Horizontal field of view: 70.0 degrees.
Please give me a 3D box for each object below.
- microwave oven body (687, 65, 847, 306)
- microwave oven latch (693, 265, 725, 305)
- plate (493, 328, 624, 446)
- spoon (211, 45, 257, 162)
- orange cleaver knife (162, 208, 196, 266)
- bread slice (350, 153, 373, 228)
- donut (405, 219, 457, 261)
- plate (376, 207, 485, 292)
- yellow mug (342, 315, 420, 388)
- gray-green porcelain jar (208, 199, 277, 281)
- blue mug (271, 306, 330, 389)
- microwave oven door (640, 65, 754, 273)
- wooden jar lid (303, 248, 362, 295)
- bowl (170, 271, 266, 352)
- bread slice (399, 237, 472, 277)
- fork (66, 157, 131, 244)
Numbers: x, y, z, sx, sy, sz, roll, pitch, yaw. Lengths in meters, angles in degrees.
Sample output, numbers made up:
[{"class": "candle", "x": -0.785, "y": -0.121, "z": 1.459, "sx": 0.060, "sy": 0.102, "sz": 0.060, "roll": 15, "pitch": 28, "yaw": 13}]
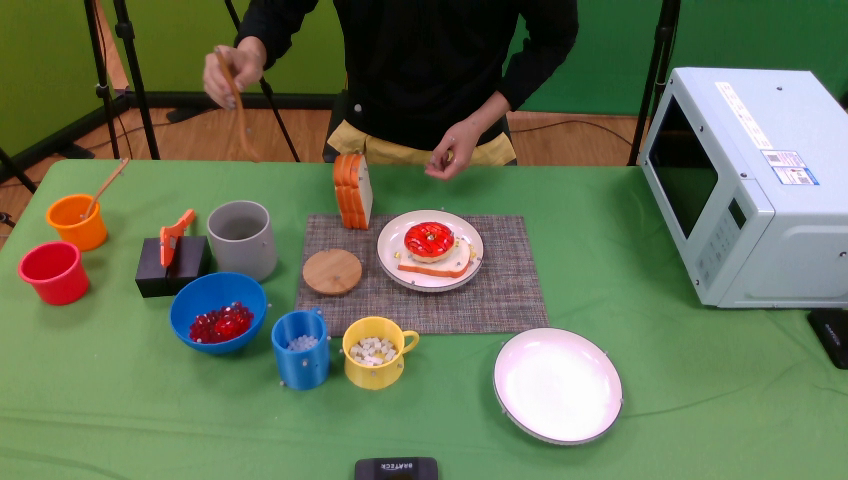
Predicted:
[{"class": "microwave oven body", "x": 0.669, "y": -0.111, "z": 1.176, "sx": 0.326, "sy": 0.261, "sz": 0.439, "roll": 0, "pitch": 46, "yaw": -3}, {"class": "microwave oven latch", "x": 0.522, "y": 0.081, "z": 1.115, "sx": 0.030, "sy": 0.029, "sz": 0.078, "roll": 2, "pitch": 46, "yaw": -1}, {"class": "plate", "x": 0.213, "y": 0.236, "z": 0.974, "sx": 0.208, "sy": 0.039, "sz": 0.206, "roll": 2, "pitch": 46, "yaw": -2}, {"class": "spoon", "x": -0.285, "y": -0.202, "z": 0.917, "sx": 0.021, "sy": 0.195, "sz": 0.041, "roll": -10, "pitch": 40, "yaw": -6}, {"class": "orange cleaver knife", "x": -0.454, "y": -0.010, "z": 1.129, "sx": 0.012, "sy": 0.077, "sz": 0.210, "roll": -1, "pitch": 17, "yaw": -6}, {"class": "bread slice", "x": -0.124, "y": -0.104, "z": 1.207, "sx": 0.018, "sy": 0.135, "sz": 0.106, "roll": -1, "pitch": 48, "yaw": 6}, {"class": "donut", "x": 0.012, "y": -0.001, "z": 1.140, "sx": 0.099, "sy": 0.048, "sz": 0.098, "roll": 0, "pitch": 44, "yaw": 0}, {"class": "plate", "x": 0.012, "y": 0.021, "z": 1.158, "sx": 0.209, "sy": 0.038, "sz": 0.208, "roll": 2, "pitch": 47, "yaw": -2}, {"class": "yellow mug", "x": -0.068, "y": 0.177, "z": 0.990, "sx": 0.131, "sy": 0.064, "sz": 0.099, "roll": -15, "pitch": 50, "yaw": -19}, {"class": "gray-green porcelain jar", "x": -0.323, "y": 0.007, "z": 1.092, "sx": 0.106, "sy": 0.127, "sz": 0.105, "roll": 2, "pitch": 46, "yaw": -2}, {"class": "blue mug", "x": -0.188, "y": 0.163, "z": 0.969, "sx": 0.082, "sy": 0.106, "sz": 0.116, "roll": 15, "pitch": 47, "yaw": 10}, {"class": "microwave oven door", "x": 0.523, "y": -0.148, "z": 1.193, "sx": 0.039, "sy": 0.245, "sz": 0.353, "roll": 0, "pitch": 47, "yaw": -3}, {"class": "wooden jar lid", "x": -0.169, "y": 0.060, "z": 1.122, "sx": 0.108, "sy": 0.021, "sz": 0.107, "roll": 2, "pitch": 46, "yaw": -2}, {"class": "bowl", "x": -0.334, "y": 0.132, "z": 1.006, "sx": 0.151, "sy": 0.077, "sz": 0.150, "roll": 2, "pitch": 46, "yaw": -2}, {"class": "bread slice", "x": 0.026, "y": 0.024, "z": 1.161, "sx": 0.131, "sy": 0.019, "sz": 0.104, "roll": 7, "pitch": 48, "yaw": 8}, {"class": "fork", "x": -0.608, "y": -0.074, "z": 1.132, "sx": 0.207, "sy": 0.019, "sz": 0.028, "roll": -52, "pitch": 48, "yaw": 10}]
